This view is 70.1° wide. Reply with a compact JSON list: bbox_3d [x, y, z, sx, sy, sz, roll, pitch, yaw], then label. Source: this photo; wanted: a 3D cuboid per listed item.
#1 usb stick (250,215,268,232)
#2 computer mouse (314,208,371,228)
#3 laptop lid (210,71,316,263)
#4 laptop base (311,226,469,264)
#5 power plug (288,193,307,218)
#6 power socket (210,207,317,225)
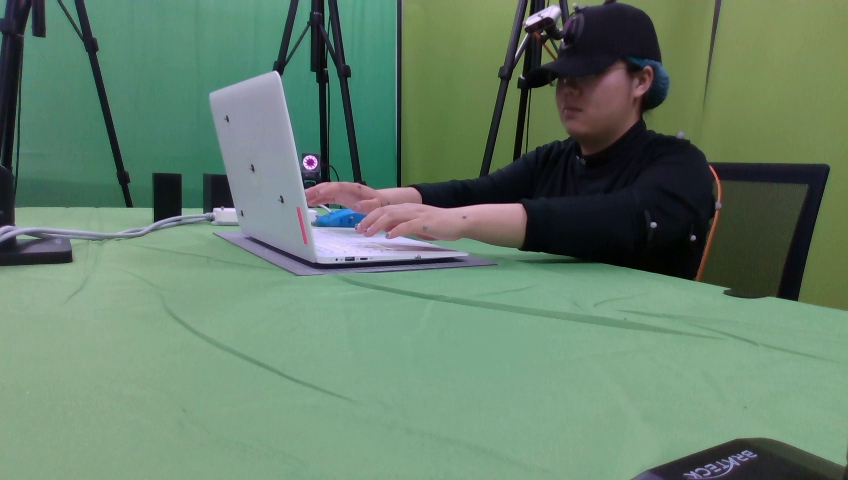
[{"bbox_3d":[-0.290,-0.028,1.070,0.021,0.027,0.059,-1,11,-30],"label":"usb stick"},{"bbox_3d":[-0.173,-0.046,1.284,0.118,0.041,0.062,-7,13,-30],"label":"computer mouse"},{"bbox_3d":[-0.241,-0.104,0.861,0.013,0.241,0.355,-16,17,-29],"label":"laptop lid"},{"bbox_3d":[-0.123,0.006,0.951,0.237,0.023,0.352,2,6,-32],"label":"laptop base"},{"bbox_3d":[-0.281,-0.076,1.340,0.035,0.052,0.072,4,5,-18],"label":"power plug"},{"bbox_3d":[-0.334,-0.051,1.281,0.228,0.032,0.072,-1,8,-28],"label":"power socket"}]
